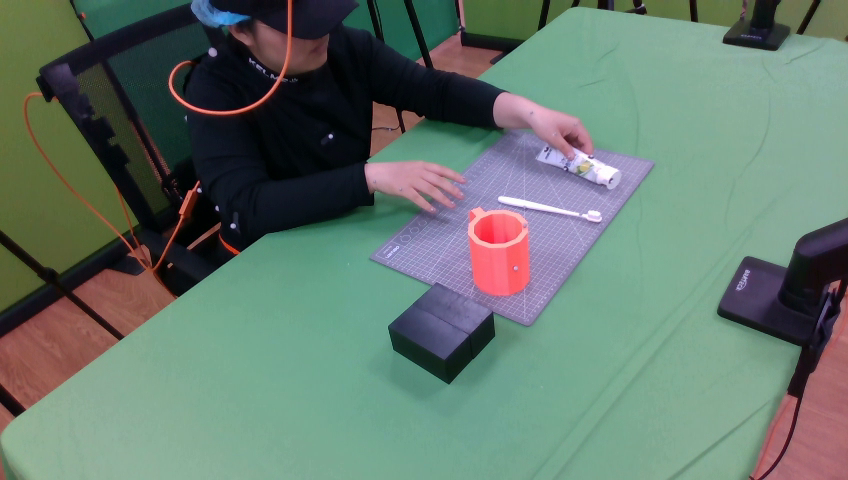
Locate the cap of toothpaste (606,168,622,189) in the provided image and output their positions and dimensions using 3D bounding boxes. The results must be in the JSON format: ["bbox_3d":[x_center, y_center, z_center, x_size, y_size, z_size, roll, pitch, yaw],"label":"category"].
[{"bbox_3d":[0.323,-0.105,1.030,0.037,0.037,0.011,-32,44,-23],"label":"cap of toothpaste"}]

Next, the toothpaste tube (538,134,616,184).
[{"bbox_3d":[0.277,-0.141,1.082,0.163,0.035,0.055,35,95,41],"label":"toothpaste tube"}]

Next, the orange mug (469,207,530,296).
[{"bbox_3d":[0.104,0.008,0.894,0.084,0.101,0.125,-22,46,-14],"label":"orange mug"}]

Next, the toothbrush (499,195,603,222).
[{"bbox_3d":[0.209,-0.055,1.010,0.180,0.017,0.014,13,62,27],"label":"toothbrush"}]
